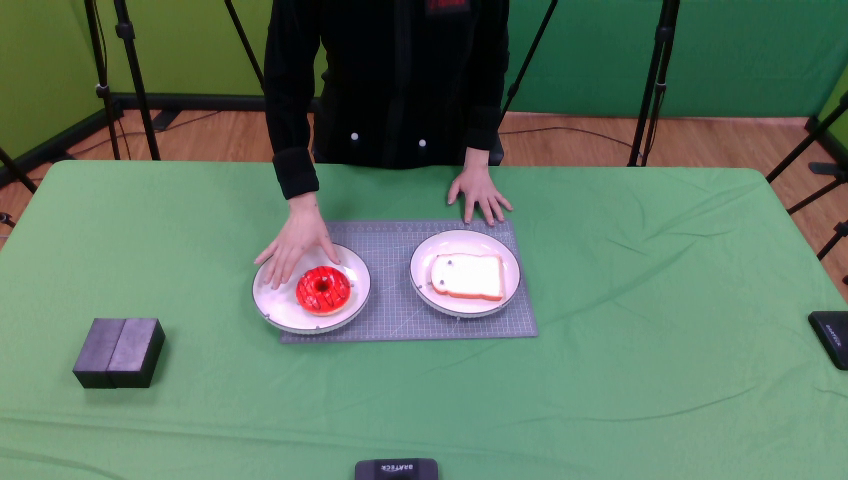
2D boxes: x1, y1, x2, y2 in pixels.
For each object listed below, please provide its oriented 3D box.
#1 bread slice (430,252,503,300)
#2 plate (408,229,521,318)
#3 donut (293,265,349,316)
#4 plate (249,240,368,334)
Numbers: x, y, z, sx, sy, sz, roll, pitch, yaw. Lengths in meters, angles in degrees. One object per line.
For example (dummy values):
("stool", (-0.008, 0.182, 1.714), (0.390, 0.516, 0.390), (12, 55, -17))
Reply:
("bread slice", (0.078, 0.067, 1.125), (0.134, 0.018, 0.106), (1, 45, -3))
("plate", (0.074, 0.063, 1.127), (0.209, 0.038, 0.208), (2, 46, -2))
("donut", (-0.181, 0.089, 1.067), (0.099, 0.048, 0.098), (3, 52, -3))
("plate", (-0.204, 0.087, 1.084), (0.208, 0.039, 0.206), (2, 46, -2))
